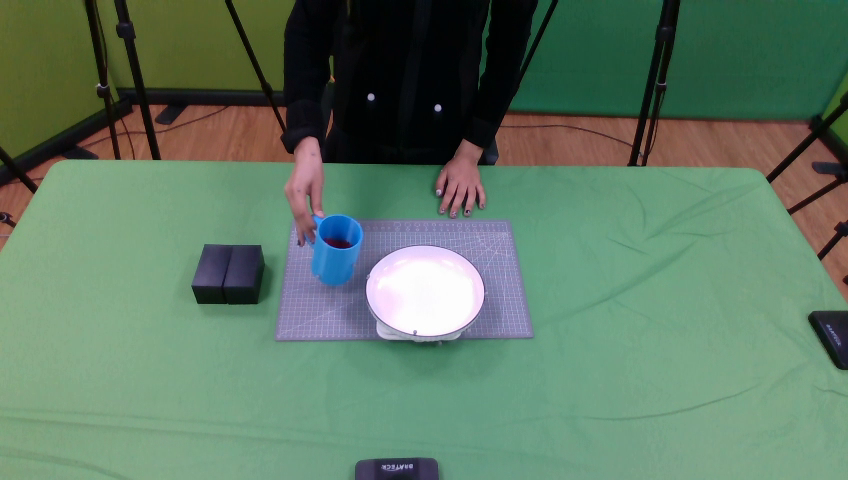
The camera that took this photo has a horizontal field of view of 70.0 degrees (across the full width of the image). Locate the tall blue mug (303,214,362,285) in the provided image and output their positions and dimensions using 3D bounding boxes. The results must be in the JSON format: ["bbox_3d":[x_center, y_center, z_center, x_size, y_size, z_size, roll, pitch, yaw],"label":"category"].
[{"bbox_3d":[-0.167,0.012,1.041,0.107,0.108,0.077,19,51,-3],"label":"tall blue mug"}]

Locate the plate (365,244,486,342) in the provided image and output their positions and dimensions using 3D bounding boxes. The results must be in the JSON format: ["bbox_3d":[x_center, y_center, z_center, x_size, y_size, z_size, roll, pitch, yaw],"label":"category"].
[{"bbox_3d":[0.001,0.093,1.051,0.209,0.038,0.208,1,46,-1],"label":"plate"}]

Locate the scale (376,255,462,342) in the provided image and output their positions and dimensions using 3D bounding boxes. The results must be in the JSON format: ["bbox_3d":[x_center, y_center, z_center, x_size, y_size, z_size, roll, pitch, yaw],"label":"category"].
[{"bbox_3d":[-0.010,0.096,1.094,0.149,0.032,0.199,2,46,-3],"label":"scale"}]
